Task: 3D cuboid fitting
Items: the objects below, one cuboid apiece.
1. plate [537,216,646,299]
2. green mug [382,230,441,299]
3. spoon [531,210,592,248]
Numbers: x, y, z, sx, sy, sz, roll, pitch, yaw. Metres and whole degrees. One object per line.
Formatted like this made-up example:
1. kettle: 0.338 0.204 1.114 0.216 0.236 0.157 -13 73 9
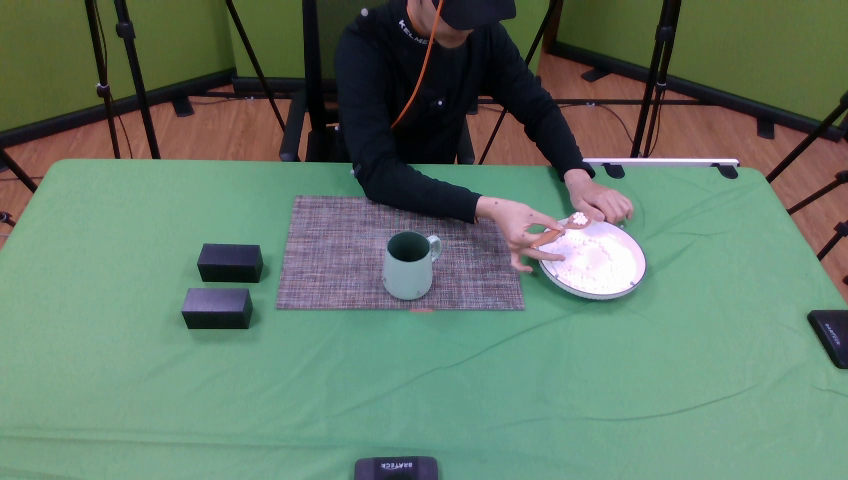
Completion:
1. plate: 0.321 0.035 1.176 0.209 0.038 0.208 2 47 -2
2. green mug: -0.017 0.037 1.097 0.125 0.105 0.092 -34 57 -31
3. spoon: 0.254 -0.022 1.124 0.041 0.022 0.194 39 39 28
